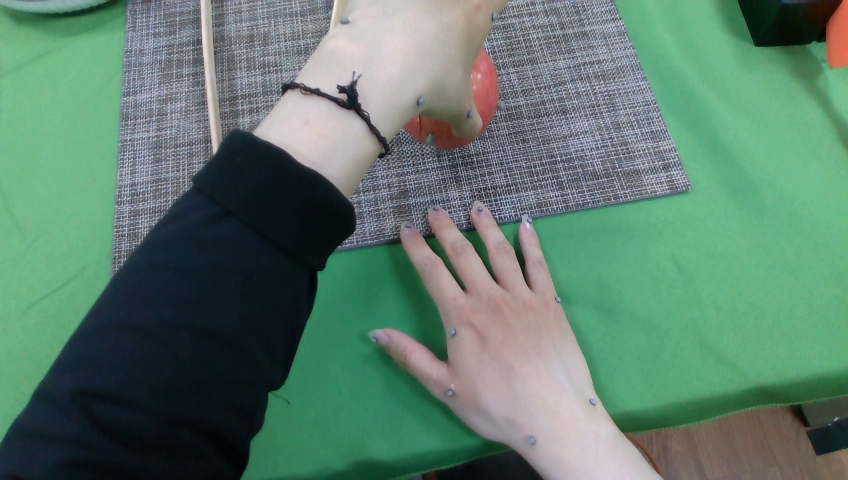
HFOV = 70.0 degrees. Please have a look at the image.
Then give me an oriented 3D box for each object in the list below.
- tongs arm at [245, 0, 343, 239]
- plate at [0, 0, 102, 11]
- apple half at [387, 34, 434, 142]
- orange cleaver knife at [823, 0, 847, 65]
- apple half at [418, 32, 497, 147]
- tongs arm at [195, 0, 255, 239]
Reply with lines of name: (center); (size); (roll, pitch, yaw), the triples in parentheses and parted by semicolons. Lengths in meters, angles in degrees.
tongs arm: (-0.100, -0.179, 0.532); (0.051, 0.027, 0.381); (1, 66, 1)
plate: (-0.345, -0.298, 0.595); (0.209, 0.038, 0.207); (0, 64, 1)
apple half: (-0.011, -0.112, 0.456); (0.033, 0.082, 0.080); (9, 65, 5)
orange cleaver knife: (0.347, -0.170, 0.486); (0.012, 0.077, 0.211); (-5, 97, 0)
apple half: (0.027, -0.108, 0.453); (0.053, 0.075, 0.080); (9, 61, 4)
tongs arm: (-0.185, -0.172, 0.533); (0.028, 0.028, 0.384); (-10, 65, -8)
